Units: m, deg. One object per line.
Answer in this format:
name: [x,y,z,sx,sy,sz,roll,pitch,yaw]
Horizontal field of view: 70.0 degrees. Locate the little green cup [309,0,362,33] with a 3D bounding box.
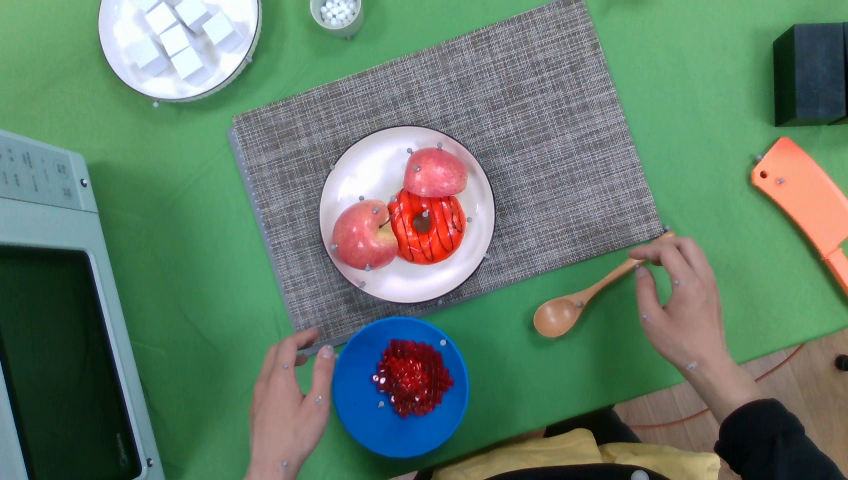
little green cup: [-0.104,-0.282,0.730,0.061,0.039,0.061,0,88,7]

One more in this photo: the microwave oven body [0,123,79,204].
microwave oven body: [-0.534,0.128,0.645,0.326,0.260,0.441,-17,87,5]

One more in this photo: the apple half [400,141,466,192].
apple half: [0.012,-0.089,0.682,0.081,0.033,0.080,1,47,0]

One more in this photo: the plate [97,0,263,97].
plate: [-0.297,-0.277,0.750,0.207,0.039,0.207,0,88,6]

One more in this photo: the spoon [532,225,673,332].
spoon: [0.207,0.042,0.694,0.194,0.022,0.041,-36,70,4]

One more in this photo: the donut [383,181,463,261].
donut: [-0.004,-0.025,0.696,0.099,0.048,0.099,0,90,6]

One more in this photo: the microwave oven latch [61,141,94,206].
microwave oven latch: [-0.431,-0.078,0.739,0.030,0.029,0.079,-16,87,5]

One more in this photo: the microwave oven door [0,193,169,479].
microwave oven door: [-0.383,0.127,0.625,0.039,0.244,0.355,-17,86,5]

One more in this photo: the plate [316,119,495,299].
plate: [-0.021,-0.036,0.709,0.209,0.038,0.209,0,88,6]

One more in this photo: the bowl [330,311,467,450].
bowl: [-0.024,0.153,0.687,0.151,0.077,0.151,0,88,6]

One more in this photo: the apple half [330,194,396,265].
apple half: [-0.076,-0.009,0.683,0.074,0.053,0.080,-19,83,46]

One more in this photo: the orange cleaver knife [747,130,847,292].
orange cleaver knife: [0.444,-0.026,0.673,0.077,0.012,0.210,-34,83,-1]
